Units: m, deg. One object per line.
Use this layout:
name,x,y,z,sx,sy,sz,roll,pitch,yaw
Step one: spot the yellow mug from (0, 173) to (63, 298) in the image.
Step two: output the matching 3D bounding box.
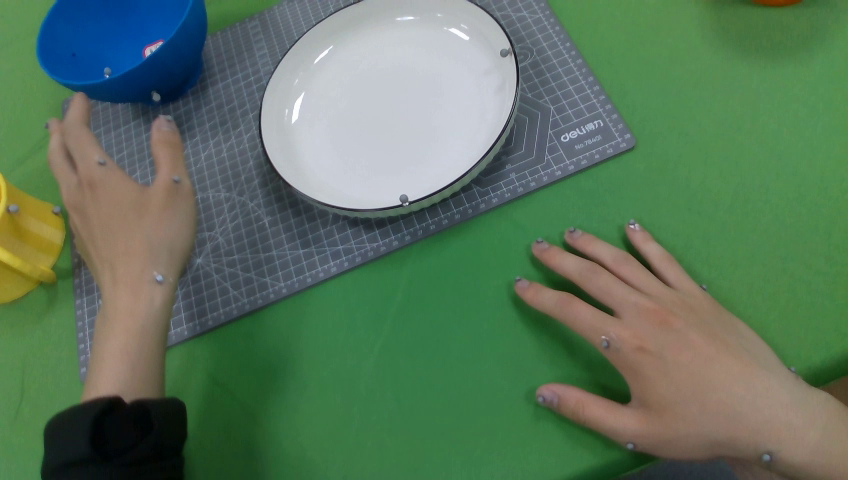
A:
yellow mug,-0.354,-0.003,0.494,0.130,0.064,0.099,25,74,22

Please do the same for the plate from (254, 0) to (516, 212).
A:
plate,-0.030,-0.111,0.477,0.209,0.038,0.207,-5,65,11

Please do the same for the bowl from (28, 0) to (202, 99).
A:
bowl,-0.256,-0.180,0.540,0.151,0.077,0.150,-5,65,12
